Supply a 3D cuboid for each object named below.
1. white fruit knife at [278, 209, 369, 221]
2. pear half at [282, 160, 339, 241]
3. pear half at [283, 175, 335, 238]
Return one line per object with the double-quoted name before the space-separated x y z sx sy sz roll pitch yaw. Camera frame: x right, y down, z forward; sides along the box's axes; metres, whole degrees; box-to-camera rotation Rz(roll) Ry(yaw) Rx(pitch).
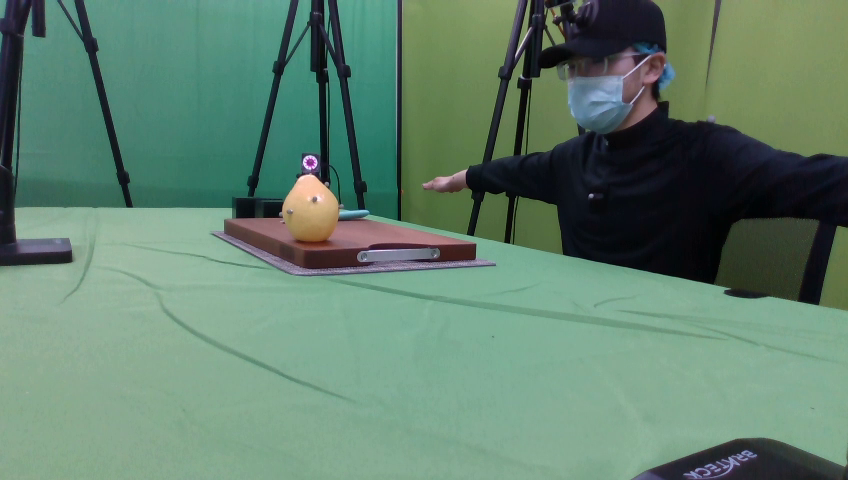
"white fruit knife" -0.182 -0.044 1.104 0.027 0.016 0.208 -9 -1 39
"pear half" -0.151 -0.052 0.812 0.077 0.110 0.055 -5 10 -22
"pear half" -0.164 -0.047 0.847 0.071 0.088 0.031 -9 12 -22
